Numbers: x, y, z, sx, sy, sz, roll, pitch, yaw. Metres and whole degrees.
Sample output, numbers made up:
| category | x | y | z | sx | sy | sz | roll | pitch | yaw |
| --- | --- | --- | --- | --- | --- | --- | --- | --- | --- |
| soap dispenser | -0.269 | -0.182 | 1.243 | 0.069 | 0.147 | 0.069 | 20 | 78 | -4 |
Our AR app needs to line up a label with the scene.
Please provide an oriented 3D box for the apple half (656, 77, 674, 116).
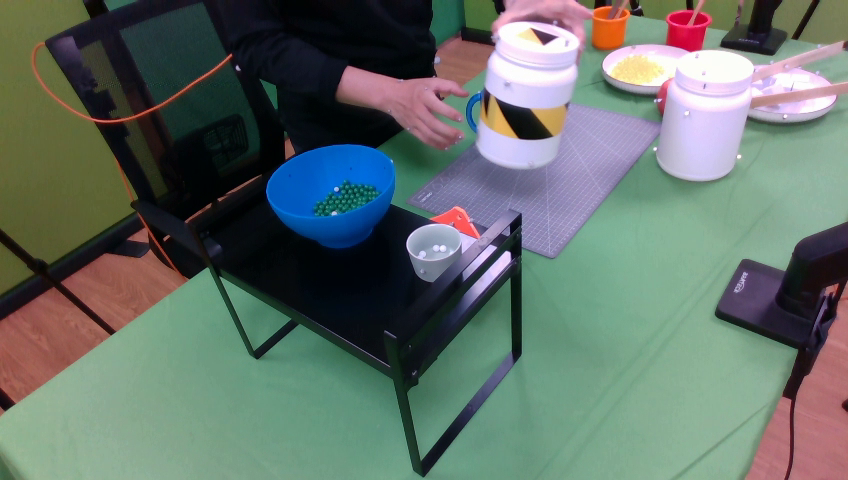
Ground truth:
| category | x | y | z | sx | sy | sz | roll | pitch | yaw |
| --- | --- | --- | --- | --- | --- | --- | --- | --- | --- |
| apple half | 0.488 | -0.281 | 1.192 | 0.053 | 0.075 | 0.081 | 24 | 54 | 37 |

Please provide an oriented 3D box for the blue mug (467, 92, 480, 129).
| category | x | y | z | sx | sy | sz | roll | pitch | yaw |
| --- | --- | --- | --- | --- | --- | --- | --- | --- | --- |
| blue mug | 0.138 | -0.241 | 1.169 | 0.116 | 0.106 | 0.082 | 10 | 44 | 21 |

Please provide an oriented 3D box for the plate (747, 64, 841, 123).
| category | x | y | z | sx | sy | sz | roll | pitch | yaw |
| --- | --- | --- | --- | --- | --- | --- | --- | --- | --- |
| plate | 0.695 | -0.283 | 1.189 | 0.207 | 0.039 | 0.206 | -4 | 40 | 4 |

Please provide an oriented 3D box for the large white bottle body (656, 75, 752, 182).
| category | x | y | z | sx | sy | sz | roll | pitch | yaw |
| --- | --- | --- | --- | --- | --- | --- | --- | --- | --- |
| large white bottle body | 0.472 | -0.207 | 1.022 | 0.130 | 0.185 | 0.130 | -4 | 41 | 4 |

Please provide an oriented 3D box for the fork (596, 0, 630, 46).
| category | x | y | z | sx | sy | sz | roll | pitch | yaw |
| --- | --- | --- | --- | --- | --- | --- | --- | --- | --- |
| fork | 0.481 | -0.556 | 1.452 | 0.028 | 0.019 | 0.207 | 40 | 103 | 40 |

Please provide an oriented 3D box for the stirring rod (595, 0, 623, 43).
| category | x | y | z | sx | sy | sz | roll | pitch | yaw |
| --- | --- | --- | --- | --- | --- | --- | --- | --- | --- |
| stirring rod | 0.460 | -0.556 | 1.460 | 0.014 | 0.006 | 0.176 | 30 | 93 | 23 |

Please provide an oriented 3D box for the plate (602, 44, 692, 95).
| category | x | y | z | sx | sy | sz | roll | pitch | yaw |
| --- | --- | --- | --- | --- | --- | --- | --- | --- | --- |
| plate | 0.495 | -0.367 | 1.317 | 0.209 | 0.038 | 0.208 | -4 | 40 | 4 |

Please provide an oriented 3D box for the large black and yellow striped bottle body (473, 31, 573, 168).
| category | x | y | z | sx | sy | sz | roll | pitch | yaw |
| --- | --- | --- | --- | --- | --- | --- | --- | --- | --- |
| large black and yellow striped bottle body | 0.149 | -0.216 | 0.913 | 0.131 | 0.184 | 0.130 | 4 | 39 | -3 |

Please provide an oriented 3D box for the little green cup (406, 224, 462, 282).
| category | x | y | z | sx | sy | sz | roll | pitch | yaw |
| --- | --- | --- | --- | --- | --- | --- | --- | --- | --- |
| little green cup | 0.013 | 0.015 | 0.668 | 0.061 | 0.039 | 0.061 | -4 | 40 | 4 |

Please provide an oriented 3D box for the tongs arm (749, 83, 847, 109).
| category | x | y | z | sx | sy | sz | roll | pitch | yaw |
| --- | --- | --- | --- | --- | --- | --- | --- | --- | --- |
| tongs arm | 0.734 | -0.281 | 1.133 | 0.388 | 0.028 | 0.028 | -9 | 47 | -5 |

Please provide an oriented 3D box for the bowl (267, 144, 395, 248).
| category | x | y | z | sx | sy | sz | roll | pitch | yaw |
| --- | --- | --- | --- | --- | --- | --- | --- | --- | --- |
| bowl | -0.104 | -0.043 | 0.726 | 0.151 | 0.077 | 0.150 | -4 | 40 | 4 |

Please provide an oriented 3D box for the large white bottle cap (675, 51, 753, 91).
| category | x | y | z | sx | sy | sz | roll | pitch | yaw |
| --- | --- | --- | --- | --- | --- | --- | --- | --- | --- |
| large white bottle cap | 0.463 | -0.271 | 0.967 | 0.115 | 0.018 | 0.114 | -4 | 40 | 3 |

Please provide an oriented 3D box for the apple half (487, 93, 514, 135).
| category | x | y | z | sx | sy | sz | roll | pitch | yaw |
| --- | --- | --- | --- | --- | --- | --- | --- | --- | --- |
| apple half | 0.141 | -0.238 | 1.158 | 0.033 | 0.081 | 0.080 | -12 | 40 | -16 |

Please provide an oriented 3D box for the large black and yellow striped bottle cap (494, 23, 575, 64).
| category | x | y | z | sx | sy | sz | roll | pitch | yaw |
| --- | --- | --- | --- | --- | --- | --- | --- | --- | --- |
| large black and yellow striped bottle cap | 0.157 | -0.281 | 0.859 | 0.115 | 0.019 | 0.114 | 3 | 38 | -2 |

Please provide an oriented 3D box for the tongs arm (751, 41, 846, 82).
| category | x | y | z | sx | sy | sz | roll | pitch | yaw |
| --- | --- | --- | --- | --- | --- | --- | --- | --- | --- |
| tongs arm | 0.708 | -0.331 | 1.194 | 0.386 | 0.026 | 0.050 | -18 | 45 | -16 |

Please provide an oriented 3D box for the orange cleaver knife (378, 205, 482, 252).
| category | x | y | z | sx | sy | sz | roll | pitch | yaw |
| --- | --- | --- | --- | --- | --- | --- | --- | --- | --- |
| orange cleaver knife | 0.005 | -0.010 | 0.944 | 0.210 | 0.077 | 0.012 | -4 | 23 | 47 |

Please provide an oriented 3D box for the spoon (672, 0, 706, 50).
| category | x | y | z | sx | sy | sz | roll | pitch | yaw |
| --- | --- | --- | --- | --- | --- | --- | --- | --- | --- |
| spoon | 0.629 | -0.520 | 1.394 | 0.041 | 0.022 | 0.193 | 30 | 97 | 34 |
